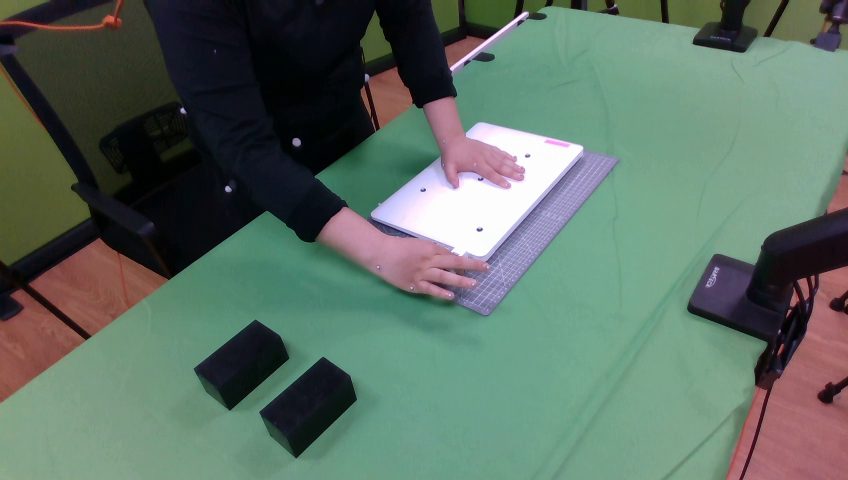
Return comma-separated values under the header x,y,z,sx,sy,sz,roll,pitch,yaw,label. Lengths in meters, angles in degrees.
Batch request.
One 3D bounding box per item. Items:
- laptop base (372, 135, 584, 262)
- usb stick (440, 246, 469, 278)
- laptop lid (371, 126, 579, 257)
x,y,z,sx,sy,sz,roll,pitch,yaw,label
0.103,-0.096,1.071,0.233,0.023,0.355,18,46,33,laptop base
0.050,0.029,0.913,0.021,0.027,0.059,28,51,30,usb stick
0.100,-0.104,1.066,0.239,0.013,0.358,21,47,34,laptop lid
